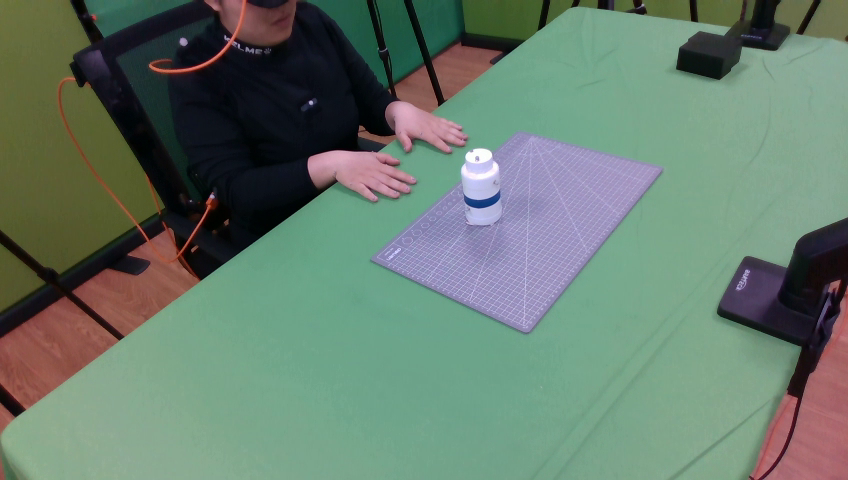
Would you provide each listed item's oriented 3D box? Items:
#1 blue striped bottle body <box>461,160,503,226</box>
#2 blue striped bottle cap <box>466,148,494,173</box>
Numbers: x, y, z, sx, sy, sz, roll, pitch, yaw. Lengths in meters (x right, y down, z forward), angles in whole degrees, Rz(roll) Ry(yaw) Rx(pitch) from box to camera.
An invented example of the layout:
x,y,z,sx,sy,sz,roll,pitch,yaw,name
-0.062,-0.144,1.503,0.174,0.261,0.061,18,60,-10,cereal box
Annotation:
x,y,z,sx,sy,sz,roll,pitch,yaw,name
0.095,-0.088,0.987,0.063,0.121,0.063,-6,40,5,blue striped bottle body
0.088,-0.126,0.955,0.044,0.021,0.044,-6,41,5,blue striped bottle cap
